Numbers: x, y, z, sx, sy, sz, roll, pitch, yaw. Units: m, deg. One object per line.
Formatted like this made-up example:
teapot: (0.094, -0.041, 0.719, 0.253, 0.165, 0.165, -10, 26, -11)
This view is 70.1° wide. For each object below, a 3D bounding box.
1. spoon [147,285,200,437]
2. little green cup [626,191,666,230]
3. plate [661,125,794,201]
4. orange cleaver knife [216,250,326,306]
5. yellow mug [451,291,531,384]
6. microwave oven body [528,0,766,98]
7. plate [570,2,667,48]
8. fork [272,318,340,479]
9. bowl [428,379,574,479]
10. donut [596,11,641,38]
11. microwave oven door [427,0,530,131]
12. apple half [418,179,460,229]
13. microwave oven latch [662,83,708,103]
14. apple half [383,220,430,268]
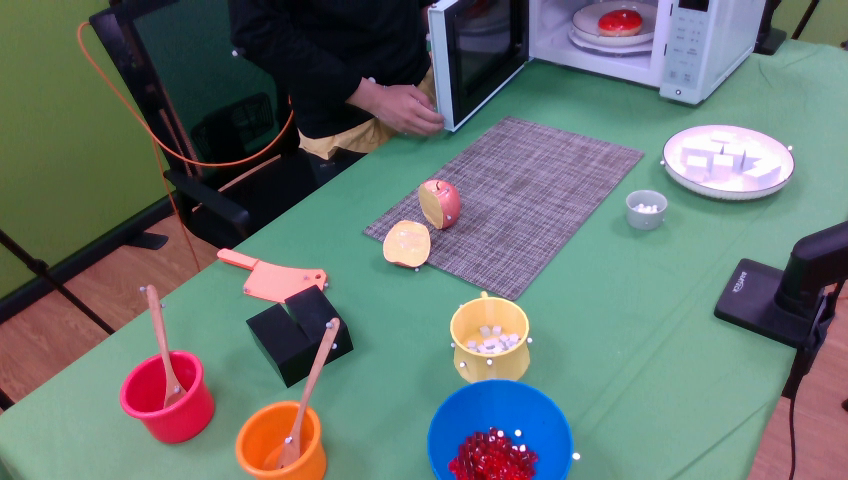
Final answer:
spoon: (-0.318, 0.148, 0.754, 0.042, 0.021, 0.193, -15, 85, -10)
little green cup: (0.352, -0.046, 0.963, 0.061, 0.039, 0.061, -4, 40, 4)
plate: (0.514, -0.128, 1.035, 0.207, 0.039, 0.206, -4, 40, 4)
orange cleaver knife: (-0.248, 0.058, 0.945, 0.210, 0.012, 0.077, 12, 49, 20)
yellow mug: (0.085, 0.120, 0.786, 0.100, 0.064, 0.130, -7, 39, 1)
microwave oven body: (0.472, -0.513, 1.317, 0.438, 0.261, 0.327, 25, 51, 34)
plate: (0.437, -0.484, 1.369, 0.209, 0.038, 0.208, -5, 41, 4)
fork: (-0.132, 0.186, 0.676, 0.028, 0.019, 0.207, 17, 90, 28)
bowl: (0.082, 0.233, 0.644, 0.151, 0.077, 0.150, -4, 39, 4)
donut: (0.433, -0.479, 1.347, 0.099, 0.048, 0.098, -6, 39, 5)
microwave oven door: (0.126, -0.417, 1.250, 0.039, 0.245, 0.356, 19, 47, 28)
apple half: (0.032, -0.062, 0.998, 0.053, 0.075, 0.080, -23, 39, -23)
microwave oven latch: (0.517, -0.296, 1.204, 0.078, 0.029, 0.030, 27, 52, 35)
apple half: (-0.022, 0.009, 0.948, 0.081, 0.033, 0.081, -4, 73, 13)
